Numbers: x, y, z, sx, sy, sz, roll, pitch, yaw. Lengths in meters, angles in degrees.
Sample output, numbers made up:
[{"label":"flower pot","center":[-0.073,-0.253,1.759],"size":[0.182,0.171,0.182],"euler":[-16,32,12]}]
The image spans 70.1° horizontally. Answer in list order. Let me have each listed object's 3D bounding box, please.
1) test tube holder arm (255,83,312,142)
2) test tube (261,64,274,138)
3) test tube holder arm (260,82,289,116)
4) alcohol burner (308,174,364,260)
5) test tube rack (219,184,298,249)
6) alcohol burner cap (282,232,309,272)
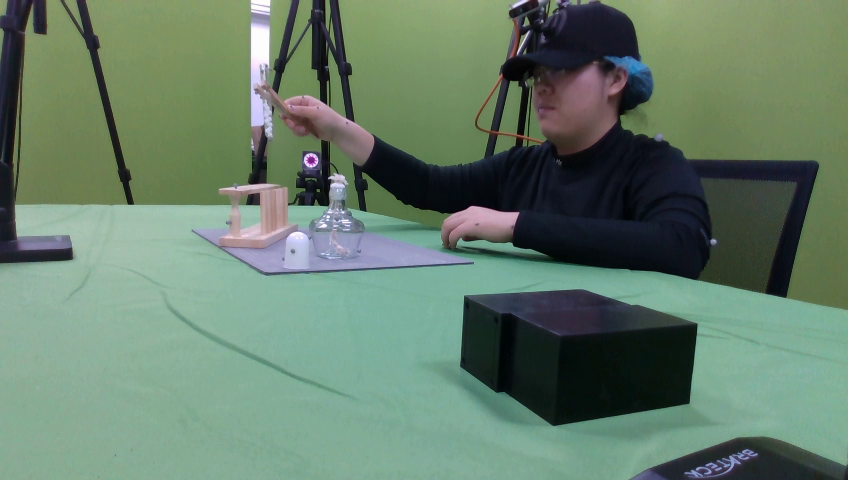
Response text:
[{"label":"test tube holder arm","center":[-0.262,-0.238,1.147],"size":[0.013,0.015,0.179],"euler":[-1,-23,22]},{"label":"test tube","center":[-0.280,-0.249,1.081],"size":[0.017,0.150,0.017],"euler":[-8,-19,-3]},{"label":"test tube holder arm","center":[-0.272,-0.256,1.106],"size":[0.010,0.015,0.088],"euler":[0,-23,18]},{"label":"alcohol burner","center":[-0.121,-0.033,0.841],"size":[0.078,0.119,0.078],"euler":[3,5,0]},{"label":"test tube rack","center":[-0.266,-0.046,1.001],"size":[0.067,0.085,0.242],"euler":[3,7,0]},{"label":"alcohol burner cap","center":[-0.157,0.014,0.740],"size":[0.034,0.048,0.034],"euler":[3,6,0]}]
